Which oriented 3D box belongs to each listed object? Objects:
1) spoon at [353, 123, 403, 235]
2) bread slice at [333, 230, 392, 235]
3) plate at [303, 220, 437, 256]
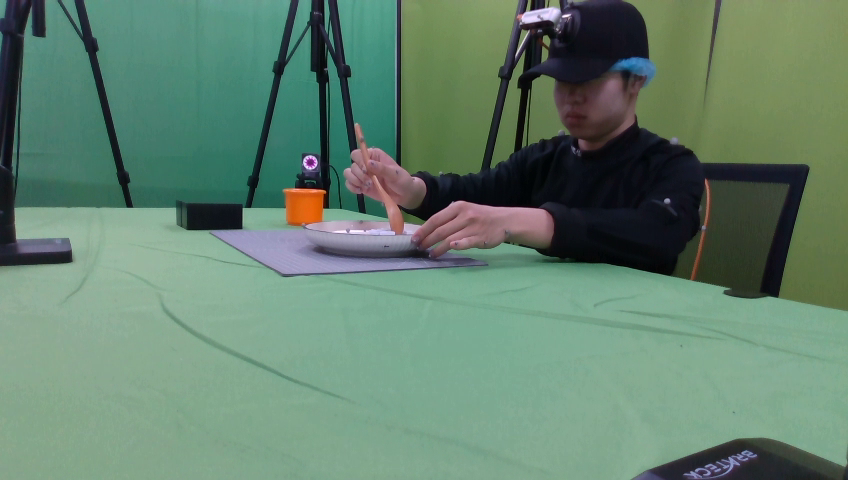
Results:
[{"bbox_3d":[-0.075,-0.095,0.940,0.021,0.193,0.042,-30,-11,26],"label":"spoon"},{"bbox_3d":[-0.088,0.000,0.947,0.105,0.019,0.131,-4,10,-44],"label":"bread slice"},{"bbox_3d":[-0.084,-0.003,0.951,0.209,0.038,0.209,3,7,0],"label":"plate"}]
